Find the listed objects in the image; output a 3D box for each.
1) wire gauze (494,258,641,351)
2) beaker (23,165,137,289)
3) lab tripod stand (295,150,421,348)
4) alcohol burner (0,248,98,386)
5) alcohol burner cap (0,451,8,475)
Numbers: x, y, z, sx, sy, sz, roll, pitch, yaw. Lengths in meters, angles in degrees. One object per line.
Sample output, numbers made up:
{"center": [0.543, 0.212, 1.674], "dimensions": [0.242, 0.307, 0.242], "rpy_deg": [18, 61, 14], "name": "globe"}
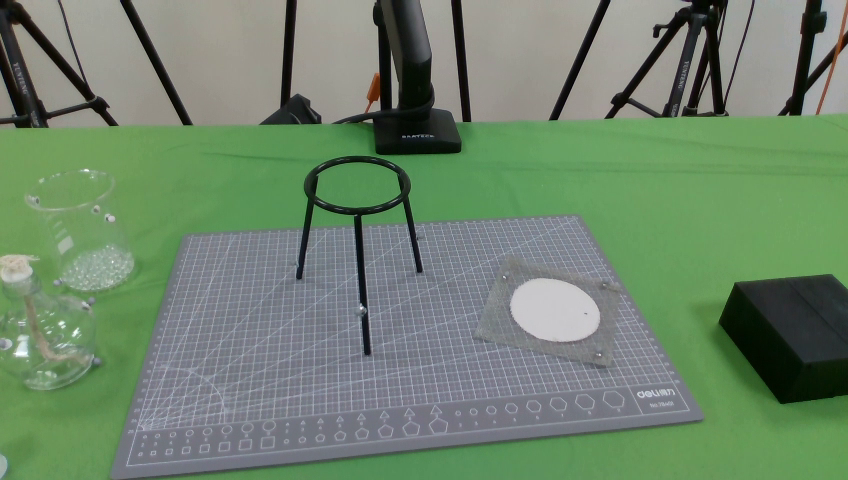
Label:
{"center": [0.129, 0.054, 0.563], "dimensions": [0.125, 0.011, 0.120], "rpy_deg": [6, 34, -6], "name": "wire gauze"}
{"center": [-0.320, -0.012, 0.577], "dimensions": [0.074, 0.101, 0.083], "rpy_deg": [4, 36, 2], "name": "beaker"}
{"center": [-0.057, 0.000, 0.543], "dimensions": [0.148, 0.132, 0.147], "rpy_deg": [3, 38, -2], "name": "lab tripod stand"}
{"center": [-0.303, 0.056, 0.474], "dimensions": [0.078, 0.120, 0.077], "rpy_deg": [2, 35, -1], "name": "alcohol burner"}
{"center": [-0.312, 0.145, 0.414], "dimensions": [0.034, 0.048, 0.033], "rpy_deg": [2, 35, -1], "name": "alcohol burner cap"}
